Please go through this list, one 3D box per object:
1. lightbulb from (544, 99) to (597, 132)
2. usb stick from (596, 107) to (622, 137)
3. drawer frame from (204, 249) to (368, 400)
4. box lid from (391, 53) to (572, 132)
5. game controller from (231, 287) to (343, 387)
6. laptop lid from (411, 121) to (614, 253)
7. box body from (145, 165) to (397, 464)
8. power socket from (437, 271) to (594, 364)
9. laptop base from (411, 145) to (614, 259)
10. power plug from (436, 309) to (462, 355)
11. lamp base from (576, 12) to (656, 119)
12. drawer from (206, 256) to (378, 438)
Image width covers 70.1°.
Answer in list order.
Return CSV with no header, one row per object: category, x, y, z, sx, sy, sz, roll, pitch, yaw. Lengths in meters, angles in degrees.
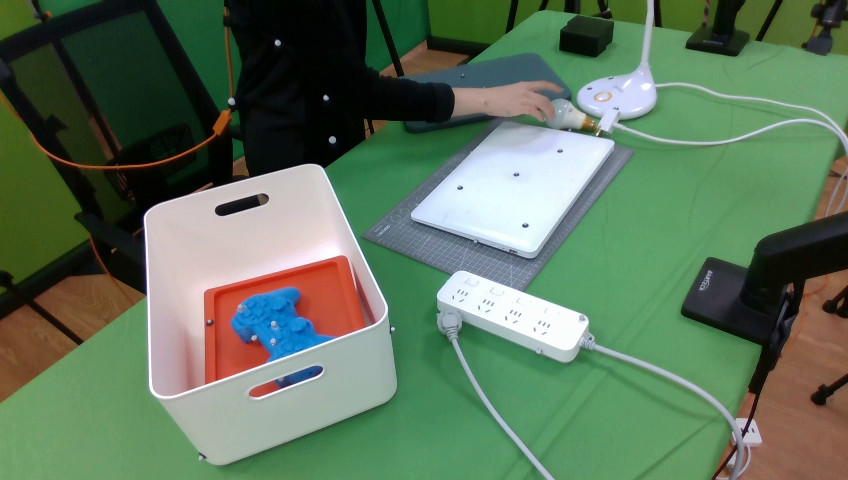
lightbulb,0.291,-0.241,1.198,0.107,0.059,0.059,23,46,8
usb stick,0.355,-0.223,1.168,0.027,0.059,0.022,37,14,34
drawer frame,-0.174,0.129,0.791,0.202,0.083,0.212,-16,45,-8
box lid,0.122,-0.339,1.366,0.372,0.015,0.261,-12,40,-5
game controller,-0.167,0.110,0.734,0.097,0.052,0.154,-35,47,-22
laptop lid,0.164,-0.112,1.068,0.240,0.013,0.357,19,46,30
box body,-0.205,0.080,0.802,0.255,0.161,0.361,-18,41,-13
power socket,0.118,0.102,0.830,0.225,0.033,0.072,20,48,28
laptop base,0.167,-0.102,1.075,0.234,0.023,0.355,17,45,30
power plug,0.033,0.126,0.810,0.035,0.053,0.072,2,60,7
lamp base,0.404,-0.359,1.218,0.180,0.181,0.159,-24,43,-23
drawer,-0.177,0.130,0.787,0.195,0.073,0.210,-14,39,-9
